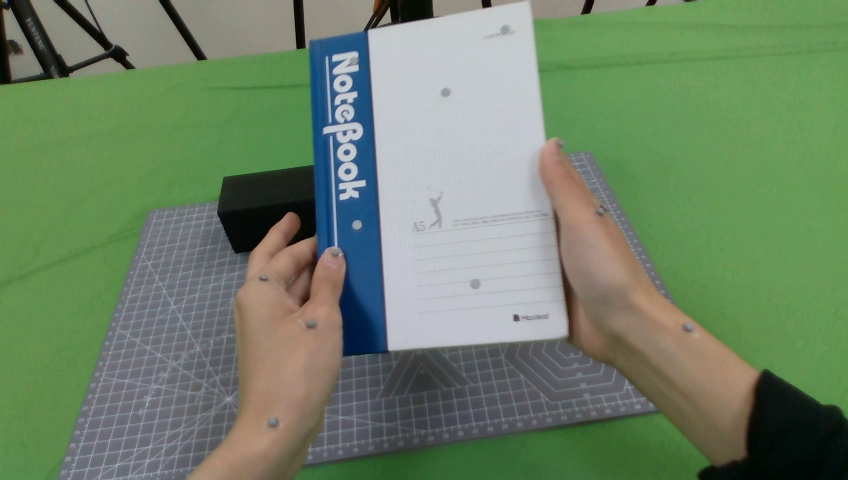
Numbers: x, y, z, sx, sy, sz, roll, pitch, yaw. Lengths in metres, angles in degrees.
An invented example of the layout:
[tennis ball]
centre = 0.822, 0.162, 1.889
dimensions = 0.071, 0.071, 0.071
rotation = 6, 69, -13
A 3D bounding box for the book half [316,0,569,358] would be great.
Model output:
[book half]
centre = 0.005, -0.039, 0.368
dimensions = 0.143, 0.007, 0.209
rotation = -6, 78, 10
